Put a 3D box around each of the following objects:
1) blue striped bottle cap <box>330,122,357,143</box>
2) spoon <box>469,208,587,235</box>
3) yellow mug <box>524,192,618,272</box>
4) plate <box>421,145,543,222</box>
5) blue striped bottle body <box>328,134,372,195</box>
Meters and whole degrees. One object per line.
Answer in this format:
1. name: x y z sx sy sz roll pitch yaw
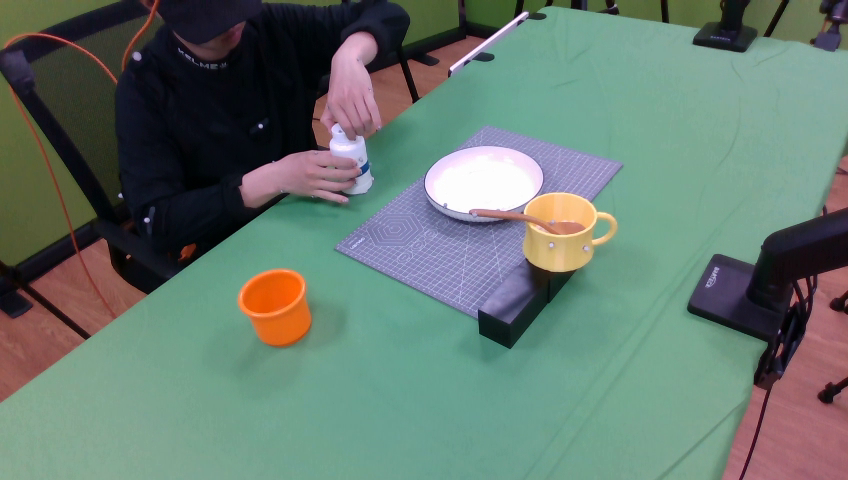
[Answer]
1. blue striped bottle cap: -0.140 -0.186 1.046 0.044 0.021 0.044 -2 36 2
2. spoon: 0.143 -0.026 0.817 0.195 0.021 0.041 12 35 -29
3. yellow mug: 0.206 -0.014 0.845 0.131 0.064 0.099 -4 41 2
4. plate: 0.101 -0.094 1.048 0.207 0.039 0.206 -4 41 4
5. blue striped bottle body: -0.134 -0.145 1.082 0.063 0.121 0.063 -4 41 4
